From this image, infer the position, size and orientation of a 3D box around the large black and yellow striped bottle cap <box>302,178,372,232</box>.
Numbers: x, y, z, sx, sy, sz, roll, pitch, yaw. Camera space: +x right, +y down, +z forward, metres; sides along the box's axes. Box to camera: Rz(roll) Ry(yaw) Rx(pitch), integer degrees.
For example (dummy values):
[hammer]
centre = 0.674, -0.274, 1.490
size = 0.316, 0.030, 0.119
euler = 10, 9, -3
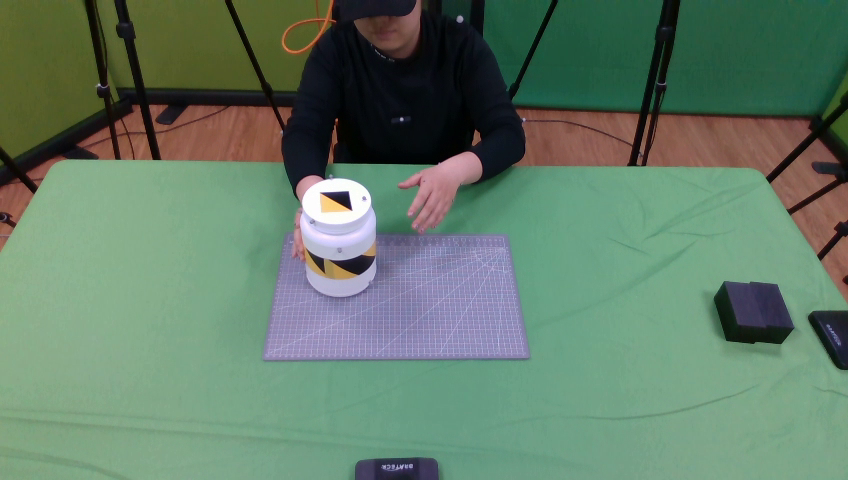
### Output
[large black and yellow striped bottle cap]
centre = -0.145, -0.060, 1.012
size = 0.115, 0.019, 0.114
euler = 2, 47, -2

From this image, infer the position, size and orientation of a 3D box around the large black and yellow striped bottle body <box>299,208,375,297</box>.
[large black and yellow striped bottle body]
centre = -0.151, -0.002, 1.073
size = 0.131, 0.185, 0.130
euler = 2, 46, -2
